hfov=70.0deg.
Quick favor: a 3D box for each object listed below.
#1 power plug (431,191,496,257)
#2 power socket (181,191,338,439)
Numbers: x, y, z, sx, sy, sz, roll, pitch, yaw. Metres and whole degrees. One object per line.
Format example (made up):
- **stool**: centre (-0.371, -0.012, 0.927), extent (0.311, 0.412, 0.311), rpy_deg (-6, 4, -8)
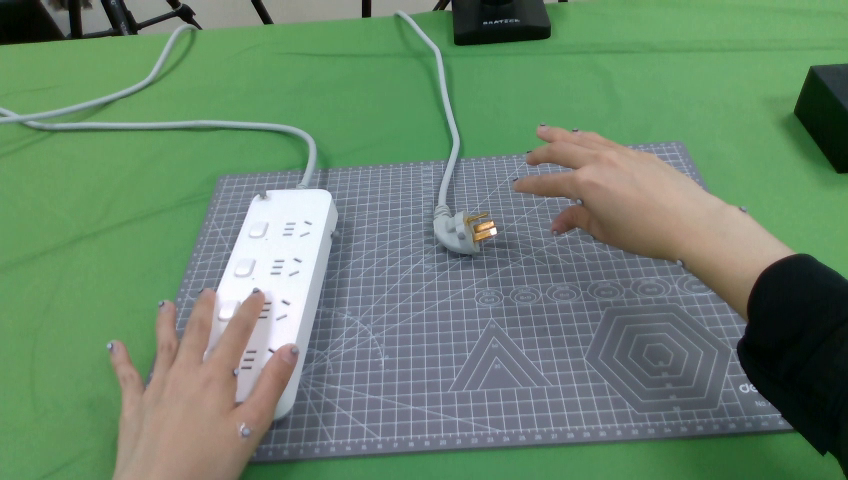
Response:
- **power plug**: centre (0.031, -0.020, 0.498), extent (0.052, 0.035, 0.072), rpy_deg (-13, 64, 16)
- **power socket**: centre (-0.117, 0.040, 0.464), extent (0.072, 0.033, 0.224), rpy_deg (0, 45, 5)
